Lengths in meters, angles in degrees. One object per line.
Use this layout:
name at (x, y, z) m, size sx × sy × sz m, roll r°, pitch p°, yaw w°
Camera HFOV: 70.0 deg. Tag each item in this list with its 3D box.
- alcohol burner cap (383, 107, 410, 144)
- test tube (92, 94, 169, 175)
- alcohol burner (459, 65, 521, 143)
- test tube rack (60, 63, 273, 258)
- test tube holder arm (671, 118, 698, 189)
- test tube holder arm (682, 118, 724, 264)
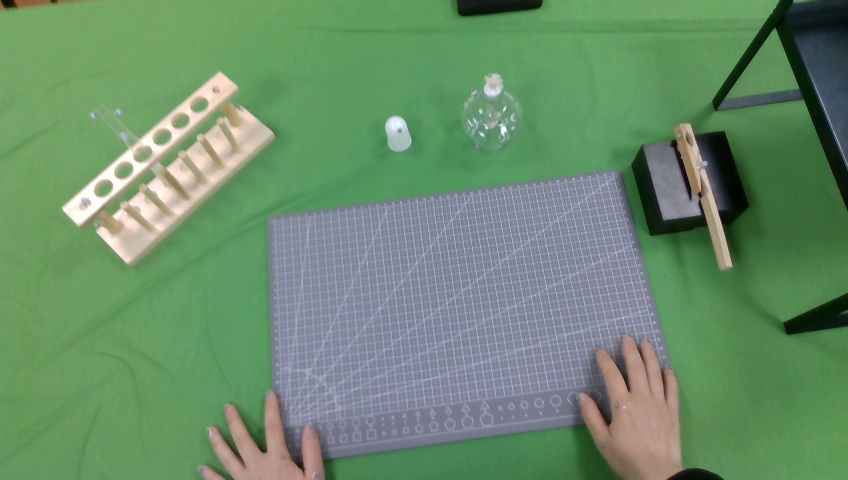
alcohol burner cap at (-0.037, -0.149, 0.773) m, size 0.034 × 0.048 × 0.033 m, roll -2°, pitch 67°, yaw 5°
test tube at (-0.331, -0.116, 0.698) m, size 0.017 × 0.151 × 0.017 m, roll -2°, pitch 66°, yaw 5°
alcohol burner at (0.081, -0.171, 0.739) m, size 0.078 × 0.120 × 0.077 m, roll -1°, pitch 69°, yaw 4°
test tube rack at (-0.306, -0.096, 0.743) m, size 0.066 × 0.086 × 0.242 m, roll 40°, pitch 77°, yaw 15°
test tube holder arm at (0.304, -0.101, 0.703) m, size 0.010 × 0.015 × 0.087 m, roll -3°, pitch 71°, yaw -15°
test tube holder arm at (0.314, -0.059, 0.690) m, size 0.013 × 0.015 × 0.177 m, roll -2°, pitch 71°, yaw -15°
